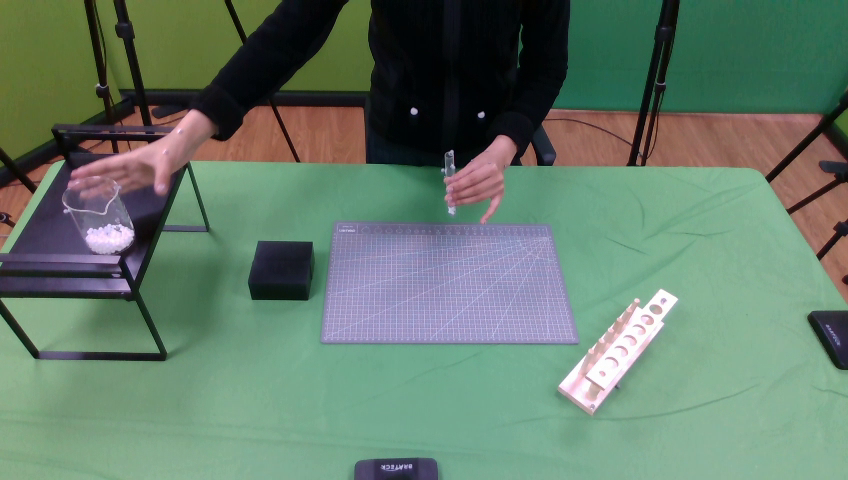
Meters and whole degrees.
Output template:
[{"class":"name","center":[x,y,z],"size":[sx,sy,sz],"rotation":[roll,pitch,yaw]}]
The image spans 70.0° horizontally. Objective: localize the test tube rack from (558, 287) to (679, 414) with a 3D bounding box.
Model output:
[{"class":"test tube rack","center":[0.326,0.170,1.009],"size":[0.066,0.085,0.242],"rotation":[35,54,26]}]

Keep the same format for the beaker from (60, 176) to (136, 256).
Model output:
[{"class":"beaker","center":[-0.471,-0.031,0.887],"size":[0.074,0.101,0.083],"rotation":[-31,56,-29]}]

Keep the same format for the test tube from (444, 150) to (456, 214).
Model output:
[{"class":"test tube","center":[0.045,-0.096,1.041],"size":[0.017,0.151,0.017],"rotation":[-2,52,3]}]
